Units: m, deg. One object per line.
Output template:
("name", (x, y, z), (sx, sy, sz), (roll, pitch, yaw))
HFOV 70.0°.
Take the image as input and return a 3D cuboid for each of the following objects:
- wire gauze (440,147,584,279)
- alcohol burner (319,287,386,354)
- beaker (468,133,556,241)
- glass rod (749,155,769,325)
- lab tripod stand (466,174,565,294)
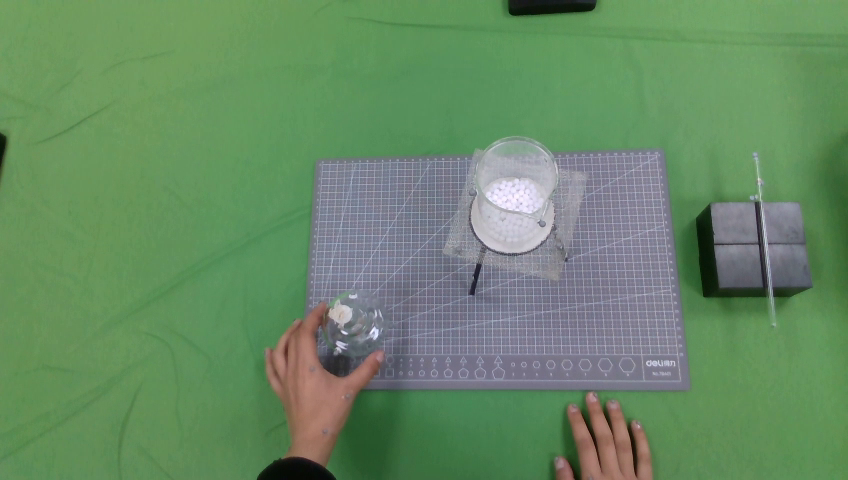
("wire gauze", (0.092, -0.030, 0.621), (0.121, 0.011, 0.124), (16, 73, 8))
("alcohol burner", (-0.084, 0.088, 0.679), (0.078, 0.120, 0.077), (-1, 75, 5))
("beaker", (0.084, -0.042, 0.575), (0.074, 0.101, 0.083), (-28, 73, -3))
("glass rod", (0.374, -0.003, 0.678), (0.008, 0.008, 0.198), (2, 74, 6))
("lab tripod stand", (0.092, -0.011, 0.685), (0.148, 0.132, 0.147), (-2, 73, 6))
